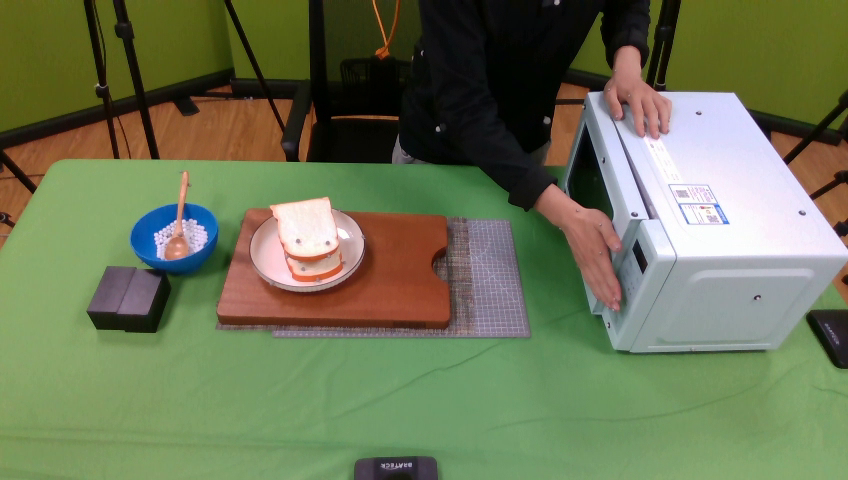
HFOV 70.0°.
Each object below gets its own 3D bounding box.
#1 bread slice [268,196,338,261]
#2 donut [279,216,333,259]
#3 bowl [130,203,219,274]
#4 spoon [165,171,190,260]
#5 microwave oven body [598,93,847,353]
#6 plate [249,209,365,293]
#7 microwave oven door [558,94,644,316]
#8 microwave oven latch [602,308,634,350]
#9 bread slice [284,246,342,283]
[{"bbox_3d":[-0.207,-0.020,1.071,0.107,0.018,0.133,-13,54,-18],"label":"bread slice"},{"bbox_3d":[-0.212,-0.004,1.097,0.099,0.048,0.098,0,42,1],"label":"donut"},{"bbox_3d":[-0.450,0.010,1.116,0.151,0.077,0.150,3,45,-3],"label":"bowl"},{"bbox_3d":[-0.452,-0.046,1.128,0.041,0.022,0.193,-1,69,-2],"label":"spoon"},{"bbox_3d":[0.475,-0.041,1.109,0.326,0.261,0.438,-1,45,-4],"label":"microwave oven body"},{"bbox_3d":[-0.212,0.021,1.113,0.208,0.039,0.206,3,45,-2],"label":"plate"},{"bbox_3d":[0.318,-0.074,1.122,0.039,0.245,0.353,2,46,-3],"label":"microwave oven door"},{"bbox_3d":[0.332,0.153,1.044,0.030,0.029,0.078,-1,45,-4],"label":"microwave oven latch"},{"bbox_3d":[-0.205,0.024,1.115,0.105,0.019,0.130,-13,45,-14],"label":"bread slice"}]
